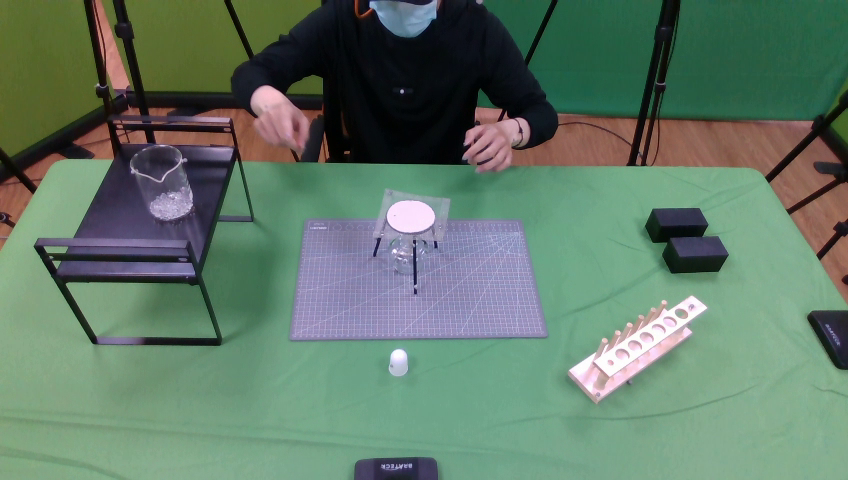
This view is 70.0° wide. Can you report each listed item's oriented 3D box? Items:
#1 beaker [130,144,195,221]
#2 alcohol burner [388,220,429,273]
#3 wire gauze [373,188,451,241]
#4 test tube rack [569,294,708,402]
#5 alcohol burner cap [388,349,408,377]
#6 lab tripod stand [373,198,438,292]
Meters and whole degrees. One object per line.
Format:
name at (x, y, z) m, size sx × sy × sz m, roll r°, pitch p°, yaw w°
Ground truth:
beaker at (-0.403, -0.085, 0.944) m, size 0.074 × 0.101 × 0.083 m, roll -15°, pitch 50°, yaw -17°
alcohol burner at (-0.028, 0.006, 1.118) m, size 0.078 × 0.119 × 0.077 m, roll 2°, pitch 48°, yaw -2°
wire gauze at (-0.019, -0.045, 1.060) m, size 0.121 × 0.011 × 0.124 m, roll 8°, pitch 44°, yaw 3°
test tube rack at (0.360, 0.167, 1.014) m, size 0.242 × 0.085 × 0.066 m, roll -25°, pitch 53°, yaw -25°
alcohol burner cap at (-0.042, 0.197, 0.989) m, size 0.034 × 0.048 × 0.033 m, roll 3°, pitch 45°, yaw -2°
lab tripod stand at (-0.025, -0.002, 1.112) m, size 0.148 × 0.132 × 0.147 m, roll 2°, pitch 44°, yaw -2°
